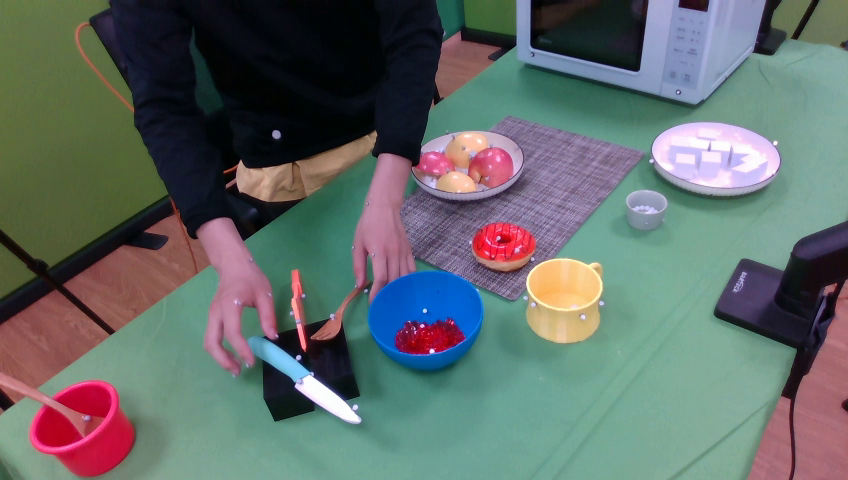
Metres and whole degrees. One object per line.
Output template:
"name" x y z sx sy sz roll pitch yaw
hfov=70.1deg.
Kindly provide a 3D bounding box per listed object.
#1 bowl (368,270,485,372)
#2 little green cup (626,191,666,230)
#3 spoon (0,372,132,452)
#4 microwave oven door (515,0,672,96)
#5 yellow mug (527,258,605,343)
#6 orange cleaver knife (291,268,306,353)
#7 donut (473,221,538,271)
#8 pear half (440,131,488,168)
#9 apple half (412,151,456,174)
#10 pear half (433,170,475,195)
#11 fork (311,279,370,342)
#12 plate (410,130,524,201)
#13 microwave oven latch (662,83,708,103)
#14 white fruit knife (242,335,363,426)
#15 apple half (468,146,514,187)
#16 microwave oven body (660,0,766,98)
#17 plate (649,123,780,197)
"bowl" 0.007 0.118 0.791 0.151 0.077 0.150 -5 40 4
"little green cup" 0.352 -0.046 0.963 0.061 0.039 0.061 -4 40 4
"spoon" -0.439 0.195 0.715 0.195 0.021 0.041 37 41 -16
"microwave oven door" 0.343 -0.454 1.259 0.353 0.245 0.039 26 51 33
"yellow mug" 0.202 0.073 0.824 0.131 0.064 0.099 -32 46 -27
"orange cleaver knife" -0.175 0.093 0.844 0.012 0.077 0.210 -12 15 -10
"donut" 0.123 0.008 0.923 0.099 0.048 0.098 -3 38 3
"pear half" 0.064 -0.173 1.129 0.110 0.056 0.076 -7 35 5
"apple half" 0.022 -0.144 1.097 0.081 0.033 0.081 7 22 -2
"pear half" 0.052 -0.105 1.051 0.071 0.031 0.087 -5 31 -28
"fork" -0.109 0.093 0.833 0.028 0.018 0.207 9 22 10
"plate" 0.078 -0.133 1.101 0.209 0.038 0.208 -4 40 4
"microwave oven latch" 0.518 -0.296 1.204 0.078 0.029 0.030 27 52 35
"white fruit knife" -0.148 0.167 0.730 0.206 0.016 0.027 26 80 31
"apple half" 0.119 -0.137 1.072 0.080 0.053 0.075 26 50 38
"microwave oven body" 0.472 -0.513 1.317 0.438 0.261 0.327 26 51 34
"plate" 0.497 -0.135 1.046 0.207 0.039 0.206 -4 40 4
